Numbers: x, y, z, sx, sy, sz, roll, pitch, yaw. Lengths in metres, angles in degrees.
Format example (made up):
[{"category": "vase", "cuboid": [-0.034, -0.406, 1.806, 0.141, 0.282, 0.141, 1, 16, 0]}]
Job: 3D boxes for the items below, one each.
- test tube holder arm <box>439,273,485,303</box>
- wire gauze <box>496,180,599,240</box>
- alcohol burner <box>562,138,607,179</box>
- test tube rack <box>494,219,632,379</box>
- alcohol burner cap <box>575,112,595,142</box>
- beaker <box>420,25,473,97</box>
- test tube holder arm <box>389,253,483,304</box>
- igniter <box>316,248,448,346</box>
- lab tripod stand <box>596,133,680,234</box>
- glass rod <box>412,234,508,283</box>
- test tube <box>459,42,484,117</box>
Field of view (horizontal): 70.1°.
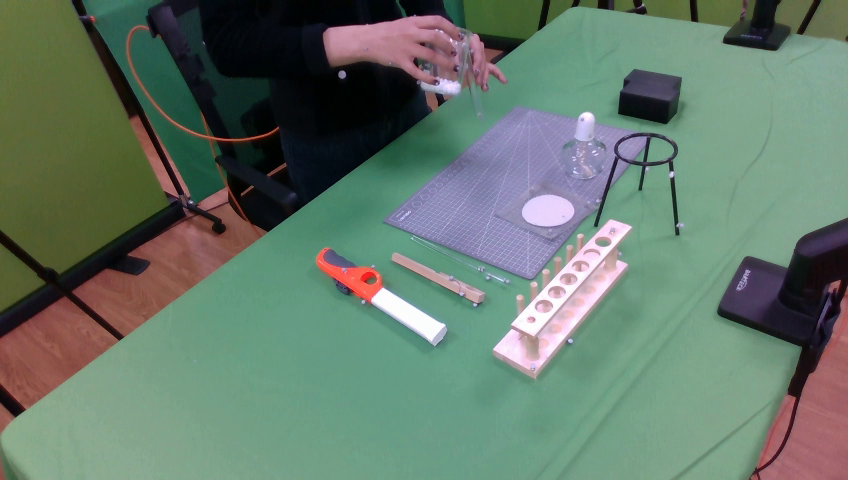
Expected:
[{"category": "test tube holder arm", "cuboid": [0.052, 0.071, 0.896, 0.087, 0.015, 0.010, 24, 14, 34]}, {"category": "wire gauze", "cuboid": [0.206, -0.050, 1.012, 0.125, 0.011, 0.120, -34, 45, -26]}, {"category": "alcohol burner", "cuboid": [0.280, -0.167, 1.052, 0.078, 0.119, 0.077, -5, 38, 4]}, {"category": "test tube rack", "cuboid": [0.191, 0.068, 0.818, 0.066, 0.085, 0.243, 25, 51, 35]}, {"category": "alcohol burner cap", "cuboid": [0.276, -0.194, 1.028, 0.034, 0.048, 0.033, -2, 44, 3]}, {"category": "beaker", "cuboid": [0.035, -0.286, 0.972, 0.073, 0.100, 0.084, 15, 12, 21]}, {"category": "test tube holder arm", "cuboid": [0.014, 0.056, 0.915, 0.177, 0.015, 0.013, 23, 14, 32]}, {"category": "igniter", "cuboid": [-0.074, 0.078, 0.902, 0.274, 0.025, 0.057, 28, 63, 36]}, {"category": "lab tripod stand", "cuboid": [0.338, -0.091, 0.940, 0.148, 0.132, 0.147, -7, 39, 6]}, {"category": "glass rod", "cuboid": [0.051, 0.027, 0.951, 0.198, 0.008, 0.008, 26, 52, 37]}, {"category": "test tube", "cuboid": [0.085, -0.278, 1.061, 0.017, 0.151, 0.017, -10, 46, 11]}]
